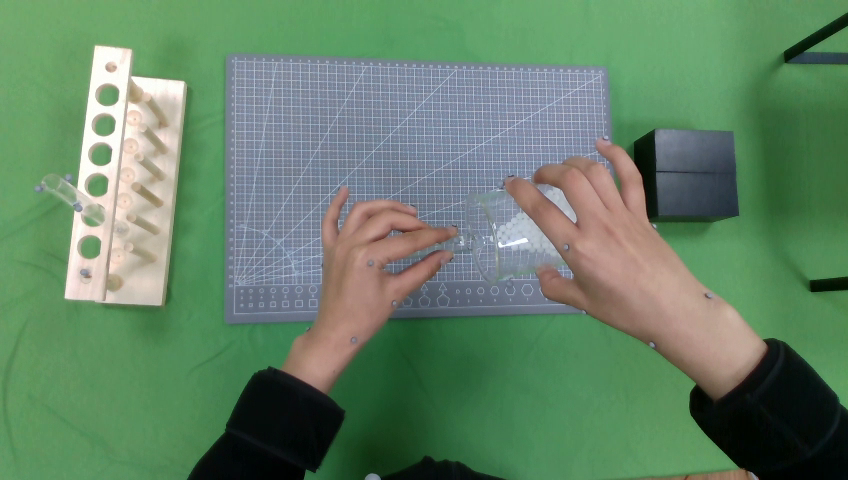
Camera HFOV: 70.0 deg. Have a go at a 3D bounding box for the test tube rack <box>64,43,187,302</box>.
[{"bbox_3d":[-0.294,-0.061,0.609,0.067,0.085,0.241,4,83,-8],"label":"test tube rack"}]

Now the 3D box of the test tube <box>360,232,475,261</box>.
[{"bbox_3d":[-0.011,0.007,0.568,0.017,0.150,0.017,7,80,-43],"label":"test tube"}]

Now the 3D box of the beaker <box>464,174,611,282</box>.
[{"bbox_3d":[0.089,-0.011,0.487,0.100,0.084,0.074,-11,86,-10],"label":"beaker"}]

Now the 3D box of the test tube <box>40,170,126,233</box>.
[{"bbox_3d":[-0.306,-0.031,0.554,0.017,0.150,0.017,2,76,-6],"label":"test tube"}]
